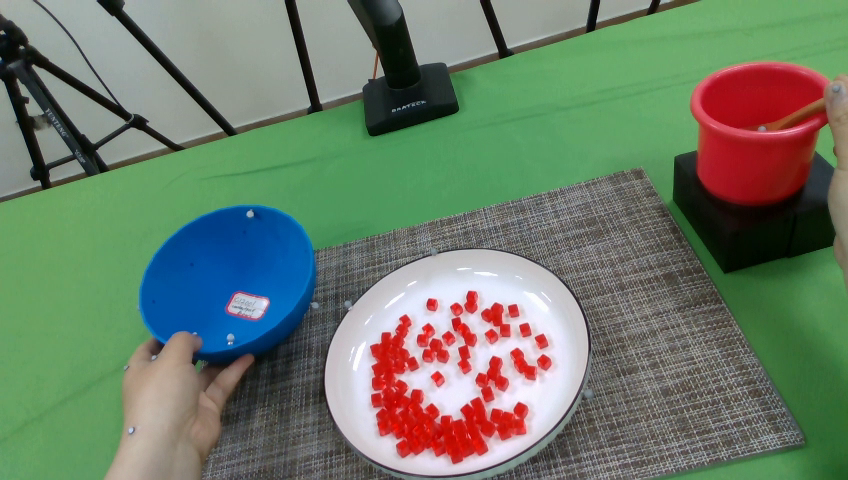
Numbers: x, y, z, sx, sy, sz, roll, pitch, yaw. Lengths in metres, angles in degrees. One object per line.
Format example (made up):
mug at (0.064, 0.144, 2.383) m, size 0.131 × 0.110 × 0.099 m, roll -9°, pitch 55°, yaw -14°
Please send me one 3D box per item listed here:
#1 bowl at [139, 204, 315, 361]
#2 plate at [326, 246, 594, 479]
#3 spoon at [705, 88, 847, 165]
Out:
bowl at (-0.164, 0.050, 0.545) m, size 0.151 × 0.077 × 0.150 m, roll -4°, pitch 54°, yaw 5°
plate at (0.027, 0.091, 0.475) m, size 0.207 × 0.039 × 0.205 m, roll -10°, pitch 43°, yaw 10°
spoon at (0.274, -0.088, 0.424) m, size 0.022 × 0.193 × 0.041 m, roll 40°, pitch 72°, yaw -6°
